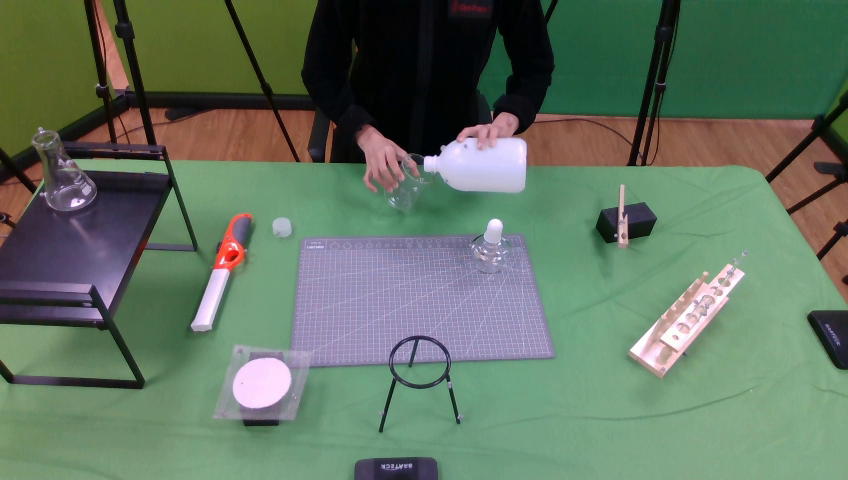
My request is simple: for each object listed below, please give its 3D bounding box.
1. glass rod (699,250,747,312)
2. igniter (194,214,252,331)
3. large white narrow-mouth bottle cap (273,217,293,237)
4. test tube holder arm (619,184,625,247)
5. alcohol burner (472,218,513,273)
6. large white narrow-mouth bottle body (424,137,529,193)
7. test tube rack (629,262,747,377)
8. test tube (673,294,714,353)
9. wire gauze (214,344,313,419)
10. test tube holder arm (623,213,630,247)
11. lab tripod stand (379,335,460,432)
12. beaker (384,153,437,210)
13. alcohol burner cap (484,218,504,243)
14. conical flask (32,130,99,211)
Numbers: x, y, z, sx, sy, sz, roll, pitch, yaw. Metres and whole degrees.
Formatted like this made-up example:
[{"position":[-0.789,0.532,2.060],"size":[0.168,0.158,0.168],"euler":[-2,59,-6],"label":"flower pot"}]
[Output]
[{"position":[0.500,0.075,1.021],"size":[0.008,0.201,0.008],"euler":[0,55,1],"label":"glass rod"},{"position":[-0.367,0.050,1.119],"size":[0.057,0.025,0.275],"euler":[-4,45,7],"label":"igniter"},{"position":[-0.281,-0.026,1.203],"size":[0.038,0.024,0.037],"euler":[2,46,-2],"label":"large white narrow-mouth bottle cap"},{"position":[0.396,-0.053,1.210],"size":[0.013,0.015,0.177],"euler":[14,46,2],"label":"test tube holder arm"},{"position":[0.129,0.005,1.132],"size":[0.078,0.120,0.077],"euler":[0,47,0],"label":"alcohol burner"},{"position":[0.097,-0.144,1.146],"size":[0.194,0.102,0.101],"euler":[3,46,7],"label":"large white narrow-mouth bottle body"},{"position":[0.464,0.126,1.060],"size":[0.242,0.085,0.066],"euler":[-34,56,-31],"label":"test tube rack"},{"position":[0.428,0.137,0.978],"size":[0.017,0.151,0.017],"euler":[4,47,-4],"label":"test tube"},{"position":[-0.241,0.213,0.915],"size":[0.121,0.011,0.124],"euler":[5,46,1],"label":"wire gauze"},{"position":[0.393,-0.020,1.179],"size":[0.010,0.015,0.087],"euler":[14,46,1],"label":"test tube holder arm"},{"position":[-0.011,0.214,0.911],"size":[0.148,0.132,0.147],"euler":[1,45,0],"label":"lab tripod stand"},{"position":[-0.028,-0.114,1.205],"size":[0.084,0.100,0.073],"euler":[-4,59,-34],"label":"beaker"},{"position":[0.130,-0.021,1.106],"size":[0.034,0.048,0.033],"euler":[3,51,-4],"label":"alcohol burner cap"},{"position":[-0.565,-0.110,0.944],"size":[0.075,0.122,0.075],"euler":[2,46,-2],"label":"conical flask"}]
